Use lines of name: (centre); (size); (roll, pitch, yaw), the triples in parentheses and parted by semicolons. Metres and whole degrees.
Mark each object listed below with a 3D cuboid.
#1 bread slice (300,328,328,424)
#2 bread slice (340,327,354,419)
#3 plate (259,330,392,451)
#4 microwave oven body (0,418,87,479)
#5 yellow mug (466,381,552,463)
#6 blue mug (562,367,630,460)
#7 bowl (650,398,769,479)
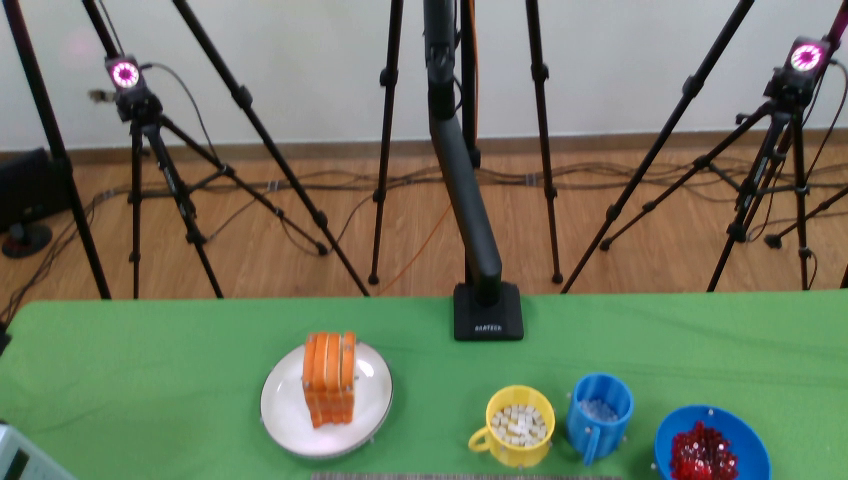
bread slice: (-0.166, 0.199, 0.923); (0.018, 0.135, 0.106); (-2, 44, 0)
bread slice: (-0.117, 0.198, 0.922); (0.019, 0.132, 0.104); (1, 50, -6)
plate: (-0.153, 0.239, 0.961); (0.207, 0.039, 0.205); (-1, 48, 2)
microwave oven body: (-0.634, 0.443, 0.648); (0.326, 0.262, 0.437); (0, 49, 3)
yellow mug: (0.123, 0.274, 0.895); (0.131, 0.064, 0.099); (-18, 49, -11)
blue mug: (0.243, 0.260, 0.874); (0.082, 0.107, 0.116); (14, 51, 16)
bowl: (0.385, 0.306, 0.842); (0.151, 0.077, 0.150); (-2, 48, 2)
